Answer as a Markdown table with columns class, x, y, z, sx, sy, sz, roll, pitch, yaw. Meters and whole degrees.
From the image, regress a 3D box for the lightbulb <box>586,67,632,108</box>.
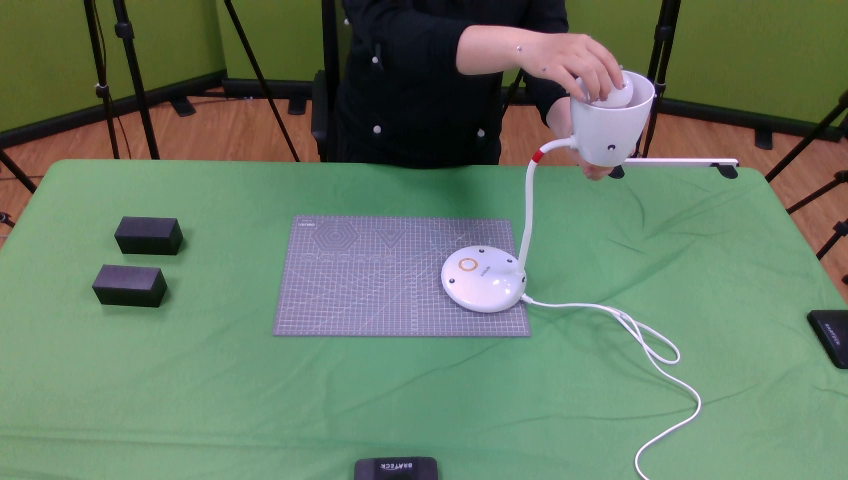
| class | x | y | z | sx | sy | sz | roll | pitch | yaw |
| --- | --- | --- | --- | --- | --- | --- | --- | --- | --- |
| lightbulb | 0.256 | -0.187 | 0.848 | 0.059 | 0.108 | 0.059 | -3 | 35 | 2 |

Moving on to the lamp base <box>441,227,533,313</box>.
| class | x | y | z | sx | sy | sz | roll | pitch | yaw |
| --- | --- | --- | --- | --- | --- | --- | --- | --- | --- |
| lamp base | 0.126 | 0.021 | 1.072 | 0.179 | 0.181 | 0.160 | 22 | 49 | 13 |

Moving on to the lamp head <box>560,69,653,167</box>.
| class | x | y | z | sx | sy | sz | roll | pitch | yaw |
| --- | --- | --- | --- | --- | --- | --- | --- | --- | --- |
| lamp head | 0.255 | -0.165 | 0.862 | 0.112 | 0.123 | 0.111 | 1 | 42 | 0 |
